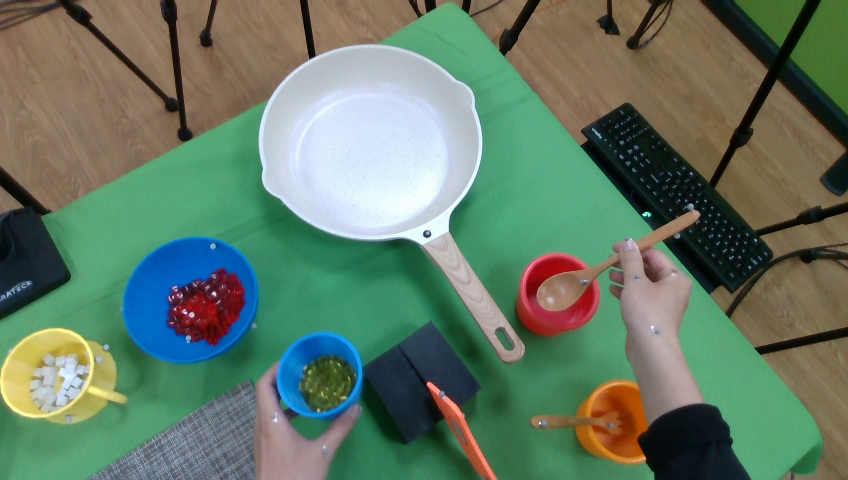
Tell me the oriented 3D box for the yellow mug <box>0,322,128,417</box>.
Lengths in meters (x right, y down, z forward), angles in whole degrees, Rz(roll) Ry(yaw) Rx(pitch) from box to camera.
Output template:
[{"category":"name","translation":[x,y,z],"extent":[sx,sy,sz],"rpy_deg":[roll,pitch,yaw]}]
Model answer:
[{"category":"yellow mug","translation":[-0.404,0.155,0.697],"extent":[0.131,0.064,0.099],"rpy_deg":[19,70,2]}]

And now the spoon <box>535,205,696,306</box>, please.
[{"category":"spoon","translation":[0.204,0.017,0.656],"extent":[0.194,0.022,0.041],"rpy_deg":[-35,63,28]}]

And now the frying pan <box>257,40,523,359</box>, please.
[{"category":"frying pan","translation":[-0.021,-0.053,0.780],"extent":[0.307,0.103,0.483],"rpy_deg":[-27,66,-12]}]

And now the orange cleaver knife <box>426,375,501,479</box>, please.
[{"category":"orange cleaver knife","translation":[0.060,0.244,0.688],"extent":[0.012,0.077,0.212],"rpy_deg":[-32,104,-15]}]

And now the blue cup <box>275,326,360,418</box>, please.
[{"category":"blue cup","translation":[-0.107,0.147,0.652],"extent":[0.093,0.101,0.092],"rpy_deg":[0,67,-1]}]

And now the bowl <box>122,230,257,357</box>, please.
[{"category":"bowl","translation":[-0.271,0.072,0.731],"extent":[0.151,0.077,0.150],"rpy_deg":[1,70,-4]}]

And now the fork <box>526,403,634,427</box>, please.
[{"category":"fork","translation":[0.180,0.196,0.678],"extent":[0.209,0.018,0.028],"rpy_deg":[17,64,-44]}]
